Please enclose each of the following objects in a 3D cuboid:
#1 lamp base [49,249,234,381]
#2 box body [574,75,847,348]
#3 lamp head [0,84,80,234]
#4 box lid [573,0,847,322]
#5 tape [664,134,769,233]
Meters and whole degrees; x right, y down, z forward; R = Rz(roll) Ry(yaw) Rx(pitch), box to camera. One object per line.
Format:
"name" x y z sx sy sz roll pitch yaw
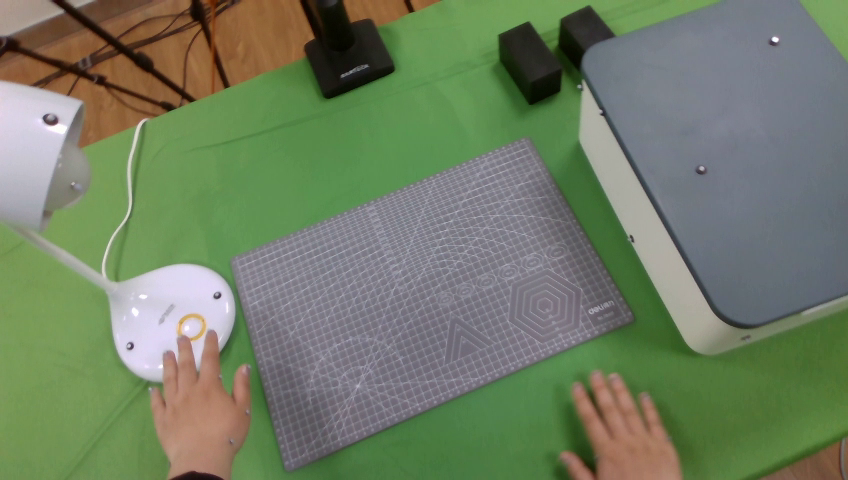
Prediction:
"lamp base" -0.350 0.071 0.731 0.178 0.182 0.159 12 67 17
"box body" 0.355 -0.083 0.704 0.254 0.162 0.360 -20 64 -1
"lamp head" -0.344 -0.071 0.467 0.123 0.112 0.111 14 64 -22
"box lid" 0.344 -0.116 0.639 0.263 0.015 0.368 -20 65 -1
"tape" 0.360 -0.072 0.753 0.117 0.053 0.116 -3 65 7
